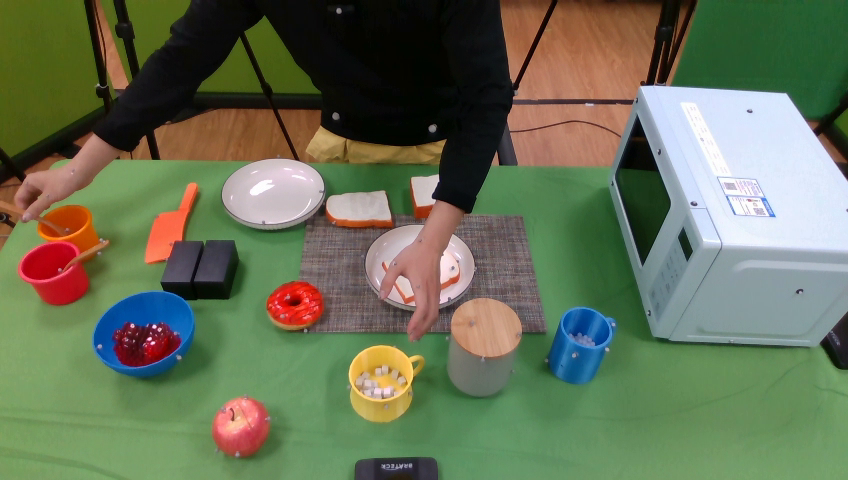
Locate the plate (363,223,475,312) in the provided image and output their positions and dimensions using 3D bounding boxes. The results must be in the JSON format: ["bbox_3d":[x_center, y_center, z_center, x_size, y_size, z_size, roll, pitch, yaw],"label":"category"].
[{"bbox_3d":[-0.009,0.054,1.127,0.208,0.039,0.206,2,46,-2],"label":"plate"}]

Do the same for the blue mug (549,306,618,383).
[{"bbox_3d":[0.269,0.167,0.997,0.116,0.106,0.082,-19,51,-21],"label":"blue mug"}]

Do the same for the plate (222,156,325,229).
[{"bbox_3d":[-0.308,-0.095,1.251,0.209,0.038,0.208,3,47,-3],"label":"plate"}]

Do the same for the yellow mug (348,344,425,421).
[{"bbox_3d":[-0.054,0.217,0.954,0.131,0.064,0.099,-24,53,-25],"label":"yellow mug"}]

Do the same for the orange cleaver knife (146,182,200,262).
[{"bbox_3d":[-0.494,-0.039,1.199,0.077,0.012,0.210,-3,48,2],"label":"orange cleaver knife"}]

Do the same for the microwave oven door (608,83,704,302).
[{"bbox_3d":[0.424,-0.096,1.138,0.039,0.245,0.353,2,47,-1],"label":"microwave oven door"}]

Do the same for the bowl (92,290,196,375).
[{"bbox_3d":[-0.436,0.161,0.971,0.151,0.077,0.150,2,46,-2],"label":"bowl"}]

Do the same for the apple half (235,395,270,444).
[{"bbox_3d":[-0.245,0.259,0.893,0.033,0.082,0.081,-29,55,-22],"label":"apple half"}]

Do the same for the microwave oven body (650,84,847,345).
[{"bbox_3d":[0.569,-0.054,1.116,0.326,0.261,0.439,2,46,-1],"label":"microwave oven body"}]

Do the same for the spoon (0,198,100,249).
[{"bbox_3d":[-0.683,-0.035,1.091,0.021,0.195,0.041,-28,45,32],"label":"spoon"}]

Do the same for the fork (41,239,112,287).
[{"bbox_3d":[-0.591,0.040,1.028,0.207,0.019,0.028,-27,37,29],"label":"fork"}]

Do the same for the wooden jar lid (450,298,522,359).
[{"bbox_3d":[0.093,0.135,0.914,0.108,0.021,0.107,3,48,-3],"label":"wooden jar lid"}]

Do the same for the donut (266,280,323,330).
[{"bbox_3d":[-0.223,0.113,1.051,0.099,0.048,0.098,2,46,-2],"label":"donut"}]

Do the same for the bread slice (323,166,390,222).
[{"bbox_3d":[-0.140,-0.092,1.224,0.134,0.018,0.106,-19,51,6],"label":"bread slice"}]

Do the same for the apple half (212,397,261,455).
[{"bbox_3d":[-0.276,0.277,0.877,0.053,0.075,0.080,-29,58,-21],"label":"apple half"}]

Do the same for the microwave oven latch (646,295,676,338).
[{"bbox_3d":[0.413,0.133,1.060,0.030,0.029,0.078,4,46,1],"label":"microwave oven latch"}]

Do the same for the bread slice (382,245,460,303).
[{"bbox_3d":[0.000,0.054,1.129,0.132,0.019,0.104,-20,52,-20],"label":"bread slice"}]

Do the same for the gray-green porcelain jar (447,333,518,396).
[{"bbox_3d":[0.091,0.178,0.960,0.106,0.127,0.105,2,47,-2],"label":"gray-green porcelain jar"}]
